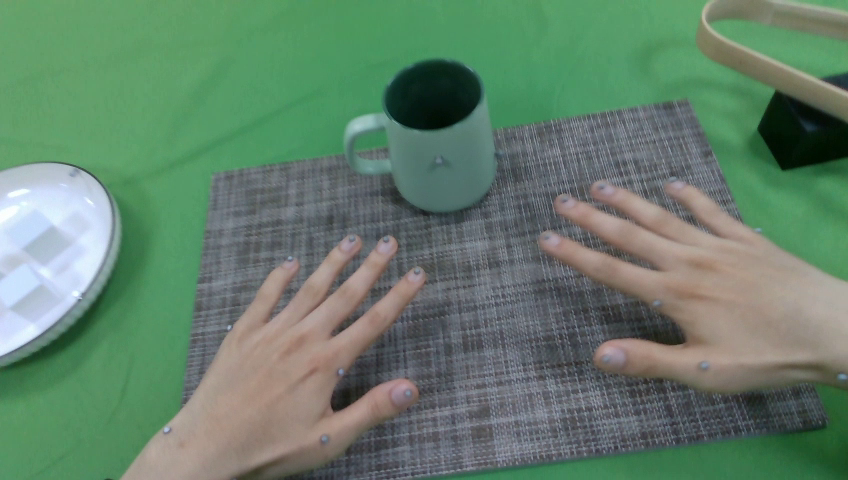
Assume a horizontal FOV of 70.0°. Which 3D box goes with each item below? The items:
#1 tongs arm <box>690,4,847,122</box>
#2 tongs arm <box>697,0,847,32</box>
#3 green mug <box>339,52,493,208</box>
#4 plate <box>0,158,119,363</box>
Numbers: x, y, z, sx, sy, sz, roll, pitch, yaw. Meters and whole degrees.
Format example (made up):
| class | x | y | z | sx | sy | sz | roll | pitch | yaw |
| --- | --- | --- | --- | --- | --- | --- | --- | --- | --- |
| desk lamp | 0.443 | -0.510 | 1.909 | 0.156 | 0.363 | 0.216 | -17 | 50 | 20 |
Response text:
| class | x | y | z | sx | sy | sz | roll | pitch | yaw |
| --- | --- | --- | --- | --- | --- | --- | --- | --- | --- |
| tongs arm | 0.361 | -0.079 | 0.436 | 0.384 | 0.028 | 0.028 | 38 | 78 | 25 |
| tongs arm | 0.407 | -0.138 | 0.461 | 0.382 | 0.027 | 0.050 | 25 | 70 | 21 |
| green mug | -0.007 | -0.084 | 0.497 | 0.125 | 0.106 | 0.091 | -10 | 59 | 2 |
| plate | -0.365 | 0.020 | 0.531 | 0.209 | 0.038 | 0.207 | -3 | 59 | 6 |
